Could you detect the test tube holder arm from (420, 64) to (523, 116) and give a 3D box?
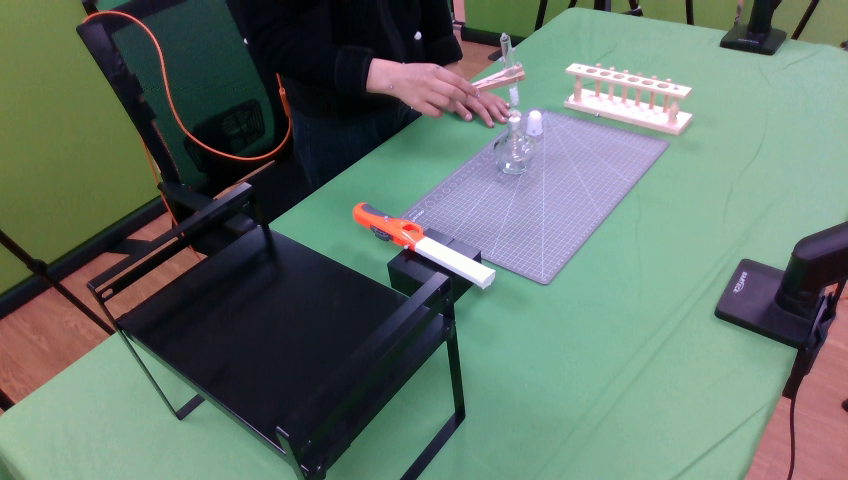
[{"bbox_3d":[0.077,-0.244,0.988,0.178,0.015,0.013,-22,62,5],"label":"test tube holder arm"}]

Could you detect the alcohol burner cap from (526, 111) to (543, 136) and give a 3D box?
[{"bbox_3d":[0.219,-0.232,1.196,0.034,0.048,0.033,-4,41,4],"label":"alcohol burner cap"}]

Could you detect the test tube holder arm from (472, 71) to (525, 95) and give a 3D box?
[{"bbox_3d":[0.120,-0.254,0.980,0.087,0.015,0.010,-14,63,9],"label":"test tube holder arm"}]

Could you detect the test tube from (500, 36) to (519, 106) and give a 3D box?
[{"bbox_3d":[0.139,-0.268,0.974,0.017,0.151,0.017,-6,61,12],"label":"test tube"}]

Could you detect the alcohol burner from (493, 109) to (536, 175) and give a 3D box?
[{"bbox_3d":[0.163,-0.179,1.087,0.078,0.119,0.077,-5,39,4],"label":"alcohol burner"}]

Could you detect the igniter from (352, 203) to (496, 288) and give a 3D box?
[{"bbox_3d":[-0.011,0.002,0.899,0.274,0.025,0.057,27,45,33],"label":"igniter"}]

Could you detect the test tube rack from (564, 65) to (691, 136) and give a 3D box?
[{"bbox_3d":[0.404,-0.288,1.204,0.240,0.085,0.067,24,49,32],"label":"test tube rack"}]
